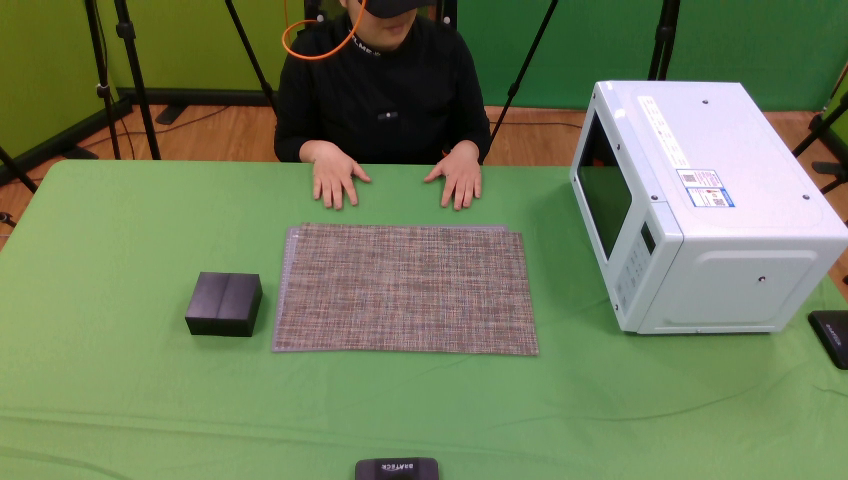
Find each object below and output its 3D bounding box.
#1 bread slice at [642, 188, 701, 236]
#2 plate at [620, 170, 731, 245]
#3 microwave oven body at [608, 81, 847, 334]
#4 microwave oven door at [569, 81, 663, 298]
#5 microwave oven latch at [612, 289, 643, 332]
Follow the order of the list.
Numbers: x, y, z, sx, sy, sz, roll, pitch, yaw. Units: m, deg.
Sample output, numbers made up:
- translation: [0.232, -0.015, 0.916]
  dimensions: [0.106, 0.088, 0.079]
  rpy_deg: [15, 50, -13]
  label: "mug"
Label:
- translation: [0.494, -0.056, 1.197]
  dimensions: [0.105, 0.019, 0.131]
  rpy_deg: [6, 42, 4]
  label: "bread slice"
- translation: [0.490, -0.060, 1.194]
  dimensions: [0.209, 0.038, 0.208]
  rpy_deg: [3, 45, -2]
  label: "plate"
- translation: [0.501, -0.070, 1.132]
  dimensions: [0.326, 0.261, 0.438]
  rpy_deg: [-1, 45, -4]
  label: "microwave oven body"
- translation: [0.353, -0.104, 1.147]
  dimensions: [0.039, 0.245, 0.353]
  rpy_deg: [0, 46, -4]
  label: "microwave oven door"
- translation: [0.357, 0.124, 1.068]
  dimensions: [0.030, 0.029, 0.078]
  rpy_deg: [0, 45, -3]
  label: "microwave oven latch"
